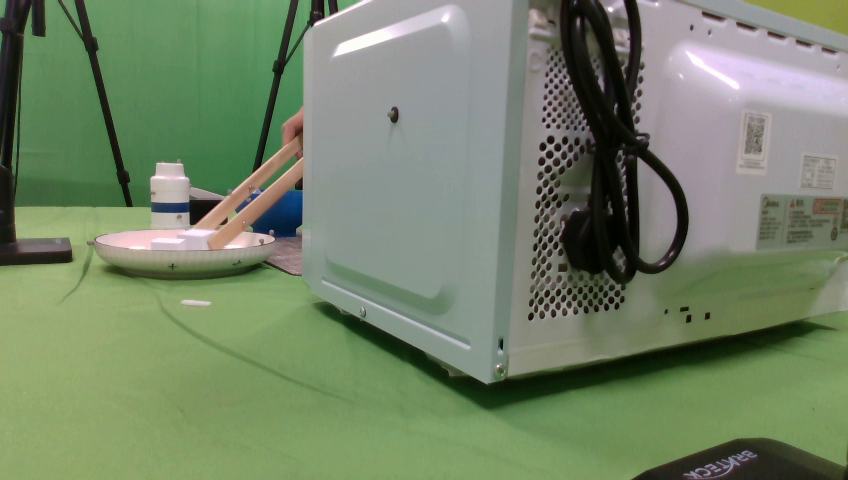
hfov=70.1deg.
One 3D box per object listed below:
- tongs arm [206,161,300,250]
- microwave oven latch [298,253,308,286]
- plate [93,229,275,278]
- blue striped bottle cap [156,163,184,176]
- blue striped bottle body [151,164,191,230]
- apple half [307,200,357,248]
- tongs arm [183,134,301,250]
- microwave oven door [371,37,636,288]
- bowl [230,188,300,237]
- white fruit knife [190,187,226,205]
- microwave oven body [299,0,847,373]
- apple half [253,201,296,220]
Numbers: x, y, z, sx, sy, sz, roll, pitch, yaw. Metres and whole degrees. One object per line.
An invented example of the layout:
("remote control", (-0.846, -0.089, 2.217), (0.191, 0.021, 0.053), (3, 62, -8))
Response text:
("tongs arm", (-0.209, -0.089, 0.895), (0.028, 0.028, 0.388), (2, 31, 19))
("microwave oven latch", (-0.081, 0.027, 0.582), (0.079, 0.029, 0.030), (-2, 7, -33))
("plate", (-0.291, 0.016, 0.749), (0.208, 0.039, 0.207), (2, 7, 0))
("blue striped bottle cap", (-0.438, -0.122, 1.045), (0.044, 0.020, 0.044), (5, 6, 0))
("blue striped bottle body", (-0.439, -0.071, 1.052), (0.063, 0.120, 0.063), (2, 8, 0))
("apple half", (-0.135, -0.024, 0.941), (0.053, 0.074, 0.081), (13, 9, 39))
("tongs arm", (-0.232, -0.092, 0.902), (0.050, 0.026, 0.385), (2, 31, 13))
("microwave oven door", (0.109, -0.080, 0.687), (0.358, 0.243, 0.039), (-2, 9, -33))
("bowl", (-0.264, -0.048, 1.066), (0.151, 0.077, 0.151), (3, 8, 0))
("white fruit knife", (-0.413, -0.081, 1.270), (0.208, 0.027, 0.016), (17, 13, -41))
("microwave oven body", (0.152, -0.055, 0.542), (0.444, 0.260, 0.324), (-2, 7, -33))
("apple half", (-0.264, -0.053, 1.066), (0.081, 0.033, 0.081), (2, 8, 0))
